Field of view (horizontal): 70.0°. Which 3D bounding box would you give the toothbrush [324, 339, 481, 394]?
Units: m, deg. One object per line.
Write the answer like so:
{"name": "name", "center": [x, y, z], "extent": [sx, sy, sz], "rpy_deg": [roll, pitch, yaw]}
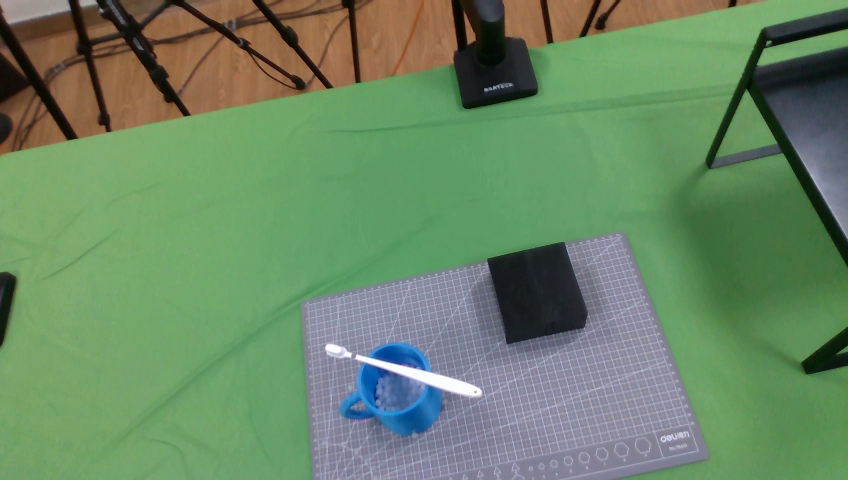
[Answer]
{"name": "toothbrush", "center": [-0.027, 0.135, 0.653], "extent": [0.181, 0.017, 0.014], "rpy_deg": [13, 61, 15]}

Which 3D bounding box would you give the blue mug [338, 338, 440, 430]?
{"name": "blue mug", "center": [-0.043, 0.175, 0.702], "extent": [0.116, 0.107, 0.081], "rpy_deg": [-21, 62, -2]}
